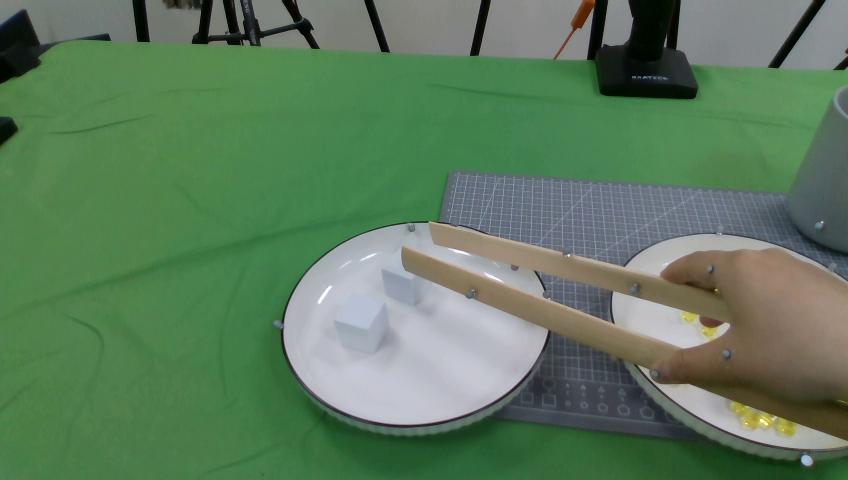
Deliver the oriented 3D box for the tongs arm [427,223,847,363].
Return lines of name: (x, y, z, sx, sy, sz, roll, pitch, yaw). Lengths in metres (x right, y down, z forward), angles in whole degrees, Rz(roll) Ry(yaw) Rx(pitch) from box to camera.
tongs arm: (0.158, 0.049, 0.390, 0.382, 0.027, 0.050, 14, 42, 28)

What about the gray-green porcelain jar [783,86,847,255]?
gray-green porcelain jar: (0.393, -0.057, 0.540, 0.106, 0.127, 0.105, -1, 42, 1)

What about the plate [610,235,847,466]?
plate: (0.245, 0.078, 0.460, 0.208, 0.039, 0.205, 0, 42, 1)

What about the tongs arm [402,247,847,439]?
tongs arm: (0.143, 0.063, 0.375, 0.384, 0.028, 0.028, 17, 40, 30)

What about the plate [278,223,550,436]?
plate: (-0.006, 0.066, 0.480, 0.209, 0.038, 0.207, -2, 42, 2)
